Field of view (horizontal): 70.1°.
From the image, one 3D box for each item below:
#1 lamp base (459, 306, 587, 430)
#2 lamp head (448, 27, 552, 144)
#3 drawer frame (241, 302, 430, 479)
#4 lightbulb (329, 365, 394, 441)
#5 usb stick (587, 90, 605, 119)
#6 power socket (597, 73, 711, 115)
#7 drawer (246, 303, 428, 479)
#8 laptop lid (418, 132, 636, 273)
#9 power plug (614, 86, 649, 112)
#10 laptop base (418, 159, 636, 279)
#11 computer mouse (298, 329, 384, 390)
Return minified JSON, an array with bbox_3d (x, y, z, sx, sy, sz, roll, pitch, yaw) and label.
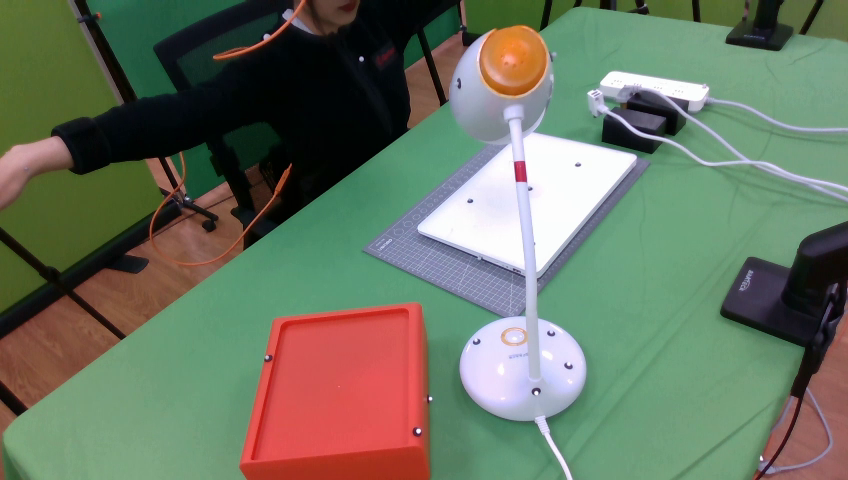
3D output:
[{"bbox_3d":[0.119,0.107,0.713,0.161,0.181,0.178,-14,42,-6],"label":"lamp base"},{"bbox_3d":[0.082,-0.161,0.618,0.112,0.112,0.123,-10,2,0],"label":"lamp head"},{"bbox_3d":[-0.095,0.184,0.739,0.202,0.083,0.212,-7,40,3],"label":"drawer frame"},{"bbox_3d":[-0.081,0.195,0.738,0.060,0.060,0.107,-32,61,-25],"label":"lightbulb"},{"bbox_3d":[0.334,-0.258,1.170,0.021,0.059,0.027,-28,44,-5],"label":"usb stick"},{"bbox_3d":[0.469,-0.304,1.249,0.225,0.033,0.072,20,49,30],"label":"power socket"},{"bbox_3d":[-0.097,0.184,0.743,0.194,0.073,0.210,-6,41,3],"label":"drawer"},{"bbox_3d":[0.181,-0.084,1.036,0.239,0.013,0.358,22,49,35],"label":"laptop lid"},{"bbox_3d":[0.406,-0.275,1.192,0.035,0.053,0.072,-16,24,-16],"label":"power plug"},{"bbox_3d":[0.185,-0.074,1.042,0.233,0.023,0.355,20,48,35],"label":"laptop base"},{"bbox_3d":[-0.111,0.156,0.799,0.117,0.041,0.062,-15,41,1],"label":"computer mouse"}]
